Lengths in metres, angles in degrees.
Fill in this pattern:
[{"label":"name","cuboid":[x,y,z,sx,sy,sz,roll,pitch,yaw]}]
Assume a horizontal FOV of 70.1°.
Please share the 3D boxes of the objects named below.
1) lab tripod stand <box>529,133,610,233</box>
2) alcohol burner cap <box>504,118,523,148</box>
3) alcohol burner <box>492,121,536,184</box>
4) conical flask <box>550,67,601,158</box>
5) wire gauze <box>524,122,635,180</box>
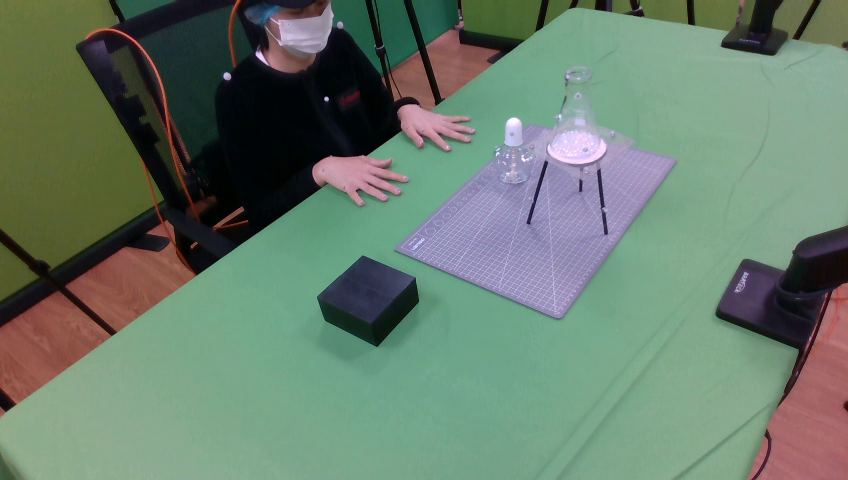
[{"label":"lab tripod stand","cuboid":[0.236,-0.089,0.953,0.148,0.132,0.147,-5,42,5]},{"label":"alcohol burner cap","cuboid":[0.154,-0.186,1.042,0.034,0.048,0.033,-4,33,3]},{"label":"alcohol burner","cuboid":[0.159,-0.158,1.064,0.078,0.119,0.077,-3,41,3]},{"label":"conical flask","cuboid":[0.221,-0.186,0.875,0.075,0.122,0.075,-5,40,5]},{"label":"wire gauze","cuboid":[0.233,-0.142,0.913,0.122,0.011,0.124,-31,43,-26]}]
